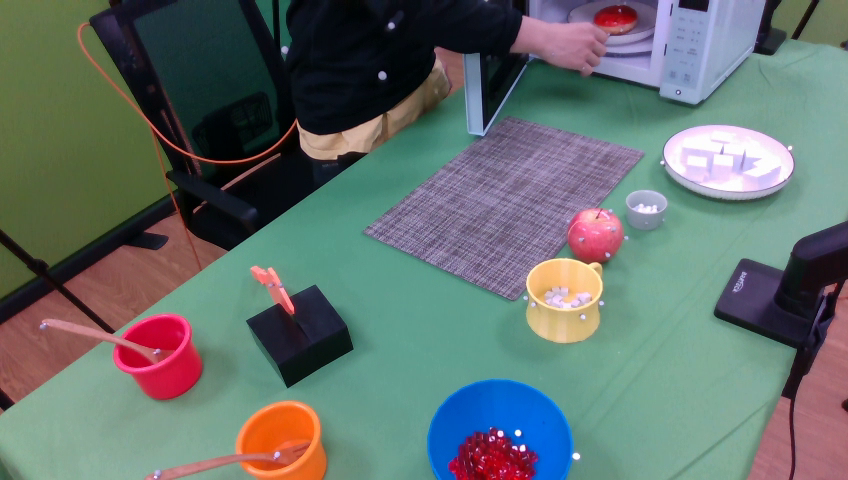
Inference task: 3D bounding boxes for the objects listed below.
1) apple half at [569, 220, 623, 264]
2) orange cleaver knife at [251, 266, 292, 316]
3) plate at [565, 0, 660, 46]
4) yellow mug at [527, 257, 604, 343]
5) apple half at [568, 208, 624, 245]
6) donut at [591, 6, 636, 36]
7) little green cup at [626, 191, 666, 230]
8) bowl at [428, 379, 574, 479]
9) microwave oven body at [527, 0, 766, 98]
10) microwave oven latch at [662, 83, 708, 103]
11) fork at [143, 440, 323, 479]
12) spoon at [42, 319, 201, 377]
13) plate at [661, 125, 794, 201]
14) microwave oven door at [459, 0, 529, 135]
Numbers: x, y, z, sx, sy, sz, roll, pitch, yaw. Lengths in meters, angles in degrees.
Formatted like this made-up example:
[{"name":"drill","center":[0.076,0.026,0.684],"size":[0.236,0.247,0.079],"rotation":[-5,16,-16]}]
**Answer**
[{"name":"apple half","center":[0.251,0.010,0.884],"size":[0.081,0.081,0.032],"rotation":[3,37,12]},{"name":"orange cleaver knife","center":[-0.221,0.071,0.873],"size":[0.012,0.077,0.210],"rotation":[-25,11,-21]},{"name":"plate","center":[0.427,-0.489,1.376],"size":[0.209,0.038,0.208],"rotation":[-5,40,4]},{"name":"yellow mug","center":[0.201,0.072,0.825],"size":[0.131,0.064,0.099],"rotation":[-32,47,-27]},{"name":"apple half","center":[0.259,-0.014,0.914],"size":[0.080,0.075,0.053],"rotation":[0,36,15]},{"name":"donut","center":[0.427,-0.496,1.366],"size":[0.099,0.048,0.098],"rotation":[-6,40,6]},{"name":"little green cup","center":[0.352,-0.046,0.963],"size":[0.061,0.039,0.061],"rotation":[-4,40,4]},{"name":"bowl","center":[0.082,0.233,0.644],"size":[0.151,0.077,0.150],"rotation":[-4,39,4]},{"name":"microwave oven body","center":[0.472,-0.513,1.317],"size":[0.438,0.261,0.327],"rotation":[25,51,34]},{"name":"microwave oven latch","center":[0.518,-0.296,1.204],"size":[0.078,0.029,0.030],"rotation":[28,52,36]},{"name":"fork","center":[-0.190,0.231,0.631],"size":[0.028,0.018,0.209],"rotation":[38,14,37]},{"name":"spoon","center":[-0.385,0.135,0.779],"size":[0.195,0.021,0.041],"rotation":[29,37,-27]},{"name":"plate","center":[0.513,-0.128,1.035],"size":[0.207,0.039,0.206],"rotation":[-4,40,4]},{"name":"microwave oven door","center":[0.153,-0.410,1.237],"size":[0.039,0.245,0.356],"rotation":[11,44,20]}]
